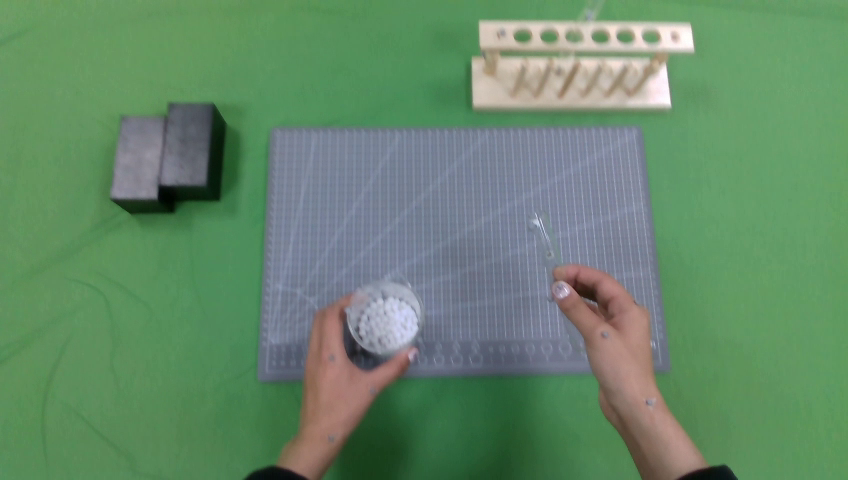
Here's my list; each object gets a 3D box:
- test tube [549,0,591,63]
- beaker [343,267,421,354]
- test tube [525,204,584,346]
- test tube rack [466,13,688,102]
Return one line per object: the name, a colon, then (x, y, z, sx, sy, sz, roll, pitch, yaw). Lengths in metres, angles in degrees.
test tube: (0.165, -0.243, 0.671, 0.017, 0.151, 0.017, 2, 72, -5)
beaker: (-0.041, 0.076, 0.622, 0.074, 0.100, 0.083, 15, 75, 2)
test tube: (0.118, 0.035, 0.540, 0.017, 0.017, 0.151, -27, 115, -9)
test tube rack: (0.174, -0.213, 0.714, 0.242, 0.085, 0.066, -1, 75, -2)
